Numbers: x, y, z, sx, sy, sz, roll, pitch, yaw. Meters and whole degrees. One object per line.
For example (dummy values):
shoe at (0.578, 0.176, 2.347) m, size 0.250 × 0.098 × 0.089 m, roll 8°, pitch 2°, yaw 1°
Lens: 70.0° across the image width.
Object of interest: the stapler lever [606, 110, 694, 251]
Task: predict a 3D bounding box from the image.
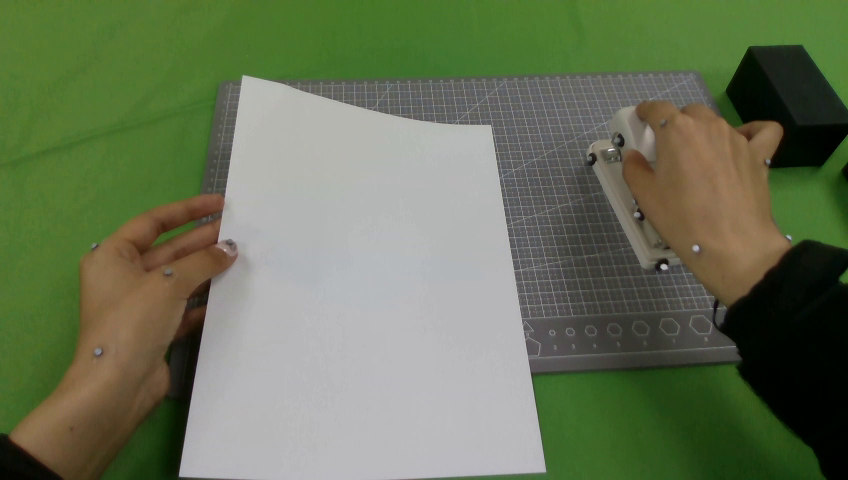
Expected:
stapler lever at (0.170, -0.049, 0.456) m, size 0.027 × 0.040 × 0.117 m, roll -11°, pitch 57°, yaw -7°

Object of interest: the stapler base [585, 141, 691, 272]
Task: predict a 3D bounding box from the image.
stapler base at (0.168, -0.036, 0.478) m, size 0.041 × 0.024 × 0.129 m, roll -10°, pitch 57°, yaw -7°
